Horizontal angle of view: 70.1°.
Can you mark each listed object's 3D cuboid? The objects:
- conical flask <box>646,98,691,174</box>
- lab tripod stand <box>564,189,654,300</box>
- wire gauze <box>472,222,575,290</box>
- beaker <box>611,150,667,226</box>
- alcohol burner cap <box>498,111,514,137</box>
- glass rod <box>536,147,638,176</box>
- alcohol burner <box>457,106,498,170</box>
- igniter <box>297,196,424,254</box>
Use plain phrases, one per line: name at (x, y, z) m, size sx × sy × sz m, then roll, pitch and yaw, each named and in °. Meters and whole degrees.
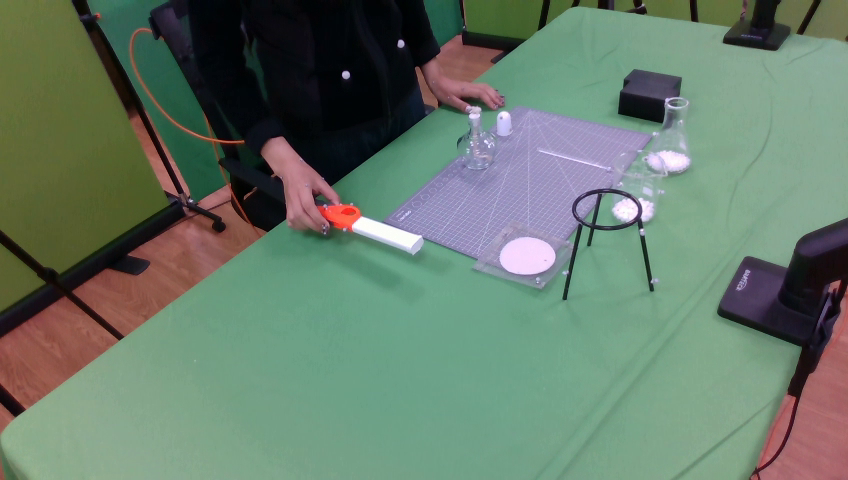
conical flask at (0.426, -0.180, 1.037) m, size 0.075 × 0.122 × 0.075 m, roll -5°, pitch 40°, yaw 5°
lab tripod stand at (0.251, 0.003, 0.845) m, size 0.148 × 0.132 × 0.147 m, roll -7°, pitch 39°, yaw 6°
wire gauze at (0.158, 0.024, 0.933) m, size 0.120 × 0.011 × 0.125 m, roll 21°, pitch 49°, yaw 31°
beaker at (0.337, -0.079, 0.953) m, size 0.083 × 0.101 × 0.074 m, roll 25°, pitch 51°, yaw 33°
alcohol burner cap at (0.163, -0.235, 1.211) m, size 0.034 × 0.048 × 0.033 m, roll -6°, pitch 40°, yaw 6°
glass rod at (0.294, -0.145, 1.104) m, size 0.198 × 0.008 × 0.008 m, roll 22°, pitch 50°, yaw 31°
alcohol burner at (0.097, -0.192, 1.117) m, size 0.078 × 0.119 × 0.077 m, roll -7°, pitch 39°, yaw 6°
igniter at (-0.114, -0.029, 0.986) m, size 0.274 × 0.025 × 0.057 m, roll 19°, pitch 50°, yaw 36°
